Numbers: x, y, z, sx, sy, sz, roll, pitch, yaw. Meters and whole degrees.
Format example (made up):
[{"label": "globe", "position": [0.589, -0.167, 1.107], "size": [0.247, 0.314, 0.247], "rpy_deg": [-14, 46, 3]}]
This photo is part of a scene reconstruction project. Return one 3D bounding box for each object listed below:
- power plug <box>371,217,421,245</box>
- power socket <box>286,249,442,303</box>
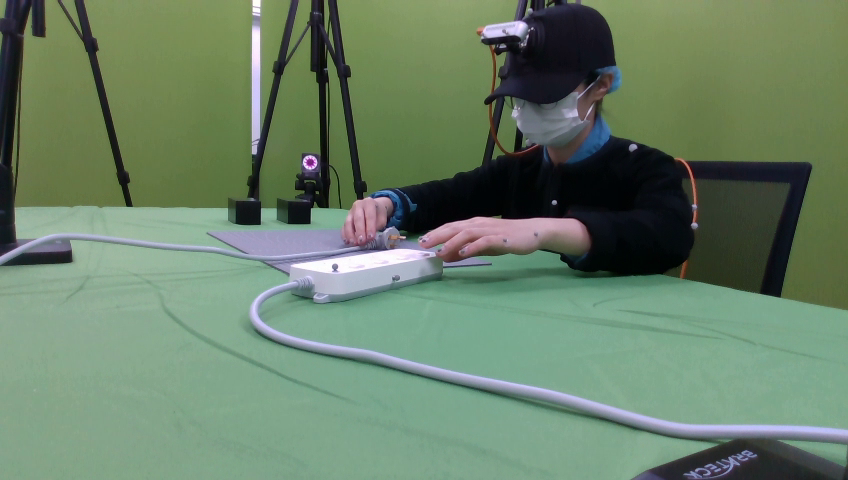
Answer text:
[{"label": "power plug", "position": [-0.049, -0.023, 0.958], "size": [0.053, 0.072, 0.035], "rpy_deg": [37, 1, -37]}, {"label": "power socket", "position": [-0.059, 0.035, 0.687], "size": [0.072, 0.032, 0.228], "rpy_deg": [6, 8, 33]}]
